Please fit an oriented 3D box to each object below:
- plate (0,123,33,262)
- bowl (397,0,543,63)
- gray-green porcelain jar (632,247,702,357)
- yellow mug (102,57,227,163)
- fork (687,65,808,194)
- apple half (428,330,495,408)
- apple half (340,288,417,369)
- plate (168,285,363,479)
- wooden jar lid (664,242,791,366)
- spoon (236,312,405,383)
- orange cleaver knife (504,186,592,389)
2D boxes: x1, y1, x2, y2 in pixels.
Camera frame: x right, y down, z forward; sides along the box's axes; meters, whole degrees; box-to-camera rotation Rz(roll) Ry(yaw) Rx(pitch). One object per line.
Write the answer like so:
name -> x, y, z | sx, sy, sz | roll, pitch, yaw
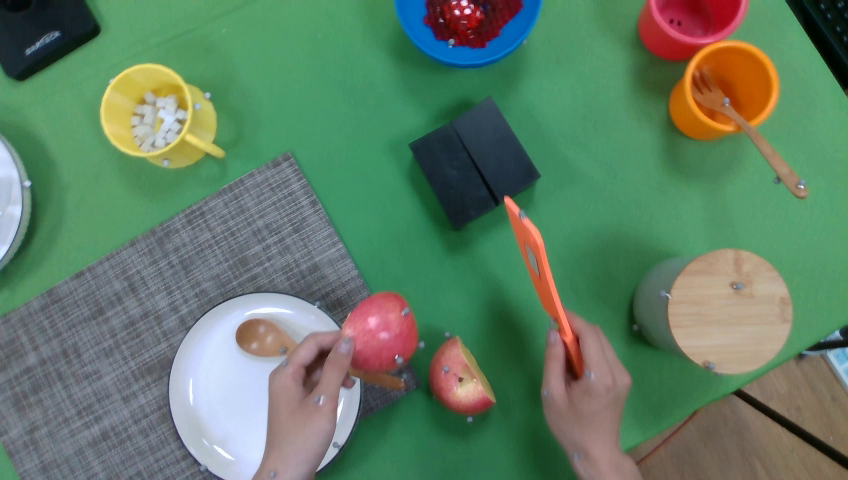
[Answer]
plate -> -0.539, -0.051, 0.687 | 0.207, 0.039, 0.207 | 0, 88, 3
bowl -> 0.048, -0.253, 0.642 | 0.151, 0.077, 0.151 | 0, 88, 3
gray-green porcelain jar -> 0.269, 0.060, 0.595 | 0.106, 0.126, 0.105 | 0, 87, 4
yellow mug -> -0.273, -0.132, 0.662 | 0.131, 0.064, 0.100 | 32, 89, 3
fork -> 0.309, -0.113, 0.587 | 0.028, 0.019, 0.205 | -13, 44, 2
apple half -> 0.033, 0.140, 0.632 | 0.053, 0.074, 0.081 | -32, 89, 5
apple half -> -0.036, 0.086, 0.555 | 0.082, 0.032, 0.081 | -5, 98, -36
plate -> -0.168, 0.152, 0.655 | 0.209, 0.038, 0.209 | 0, 88, 3
wooden jar lid -> 0.264, 0.056, 0.533 | 0.108, 0.021, 0.108 | 0, 90, 2
spoon -> -0.111, 0.119, 0.640 | 0.193, 0.022, 0.041 | 16, 83, 15
orange cleaver knife -> 0.115, 0.048, 0.564 | 0.012, 0.076, 0.213 | -25, 116, -1
